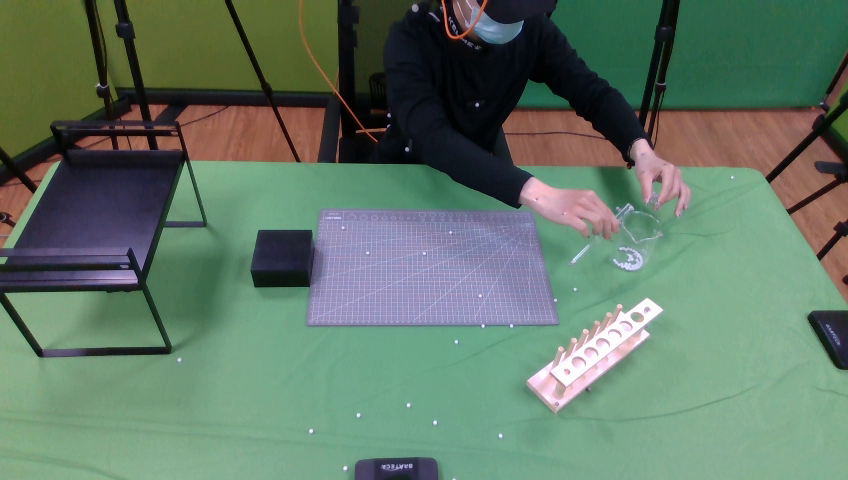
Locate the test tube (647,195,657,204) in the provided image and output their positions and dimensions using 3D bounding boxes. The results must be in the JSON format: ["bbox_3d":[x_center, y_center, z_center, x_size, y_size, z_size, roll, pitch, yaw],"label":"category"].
[{"bbox_3d":[0.449,-0.079,1.193,0.017,0.017,0.151,23,10,17],"label":"test tube"}]

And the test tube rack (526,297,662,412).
[{"bbox_3d":[0.284,0.176,1.007,0.242,0.085,0.066,-29,54,-27],"label":"test tube rack"}]

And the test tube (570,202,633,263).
[{"bbox_3d":[0.326,-0.012,1.115,0.150,0.017,0.017,-46,55,9],"label":"test tube"}]

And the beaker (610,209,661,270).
[{"bbox_3d":[0.404,0.005,1.170,0.074,0.101,0.083,19,49,15],"label":"beaker"}]
